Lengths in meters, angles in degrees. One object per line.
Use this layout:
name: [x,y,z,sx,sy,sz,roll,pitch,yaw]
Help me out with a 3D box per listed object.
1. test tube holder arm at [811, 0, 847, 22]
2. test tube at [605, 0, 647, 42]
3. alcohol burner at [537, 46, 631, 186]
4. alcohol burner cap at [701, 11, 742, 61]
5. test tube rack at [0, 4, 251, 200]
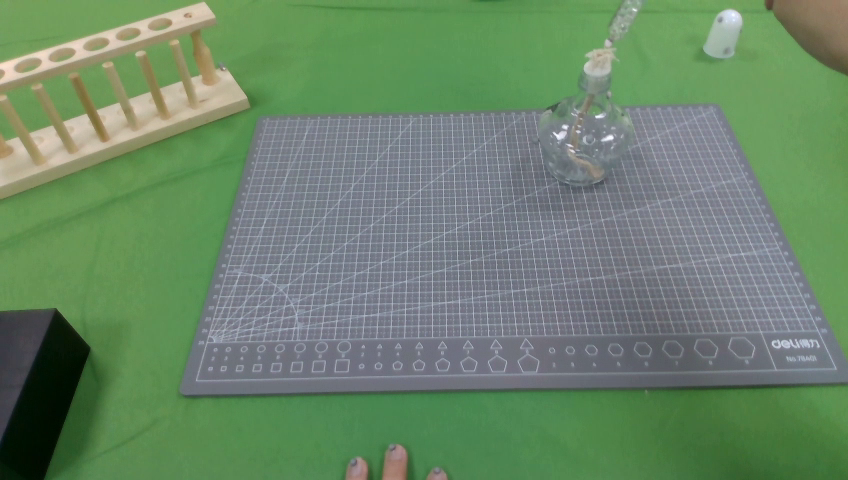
test tube holder arm: [0.214,-0.160,0.360,0.177,0.015,0.013,40,54,15]
test tube: [0.157,-0.192,0.386,0.017,0.151,0.017,10,50,-12]
alcohol burner: [0.134,-0.103,0.497,0.078,0.120,0.077,-1,47,1]
alcohol burner cap: [0.317,-0.216,0.639,0.034,0.048,0.033,-2,50,3]
test tube rack: [-0.296,-0.131,0.560,0.242,0.086,0.066,-26,53,-19]
